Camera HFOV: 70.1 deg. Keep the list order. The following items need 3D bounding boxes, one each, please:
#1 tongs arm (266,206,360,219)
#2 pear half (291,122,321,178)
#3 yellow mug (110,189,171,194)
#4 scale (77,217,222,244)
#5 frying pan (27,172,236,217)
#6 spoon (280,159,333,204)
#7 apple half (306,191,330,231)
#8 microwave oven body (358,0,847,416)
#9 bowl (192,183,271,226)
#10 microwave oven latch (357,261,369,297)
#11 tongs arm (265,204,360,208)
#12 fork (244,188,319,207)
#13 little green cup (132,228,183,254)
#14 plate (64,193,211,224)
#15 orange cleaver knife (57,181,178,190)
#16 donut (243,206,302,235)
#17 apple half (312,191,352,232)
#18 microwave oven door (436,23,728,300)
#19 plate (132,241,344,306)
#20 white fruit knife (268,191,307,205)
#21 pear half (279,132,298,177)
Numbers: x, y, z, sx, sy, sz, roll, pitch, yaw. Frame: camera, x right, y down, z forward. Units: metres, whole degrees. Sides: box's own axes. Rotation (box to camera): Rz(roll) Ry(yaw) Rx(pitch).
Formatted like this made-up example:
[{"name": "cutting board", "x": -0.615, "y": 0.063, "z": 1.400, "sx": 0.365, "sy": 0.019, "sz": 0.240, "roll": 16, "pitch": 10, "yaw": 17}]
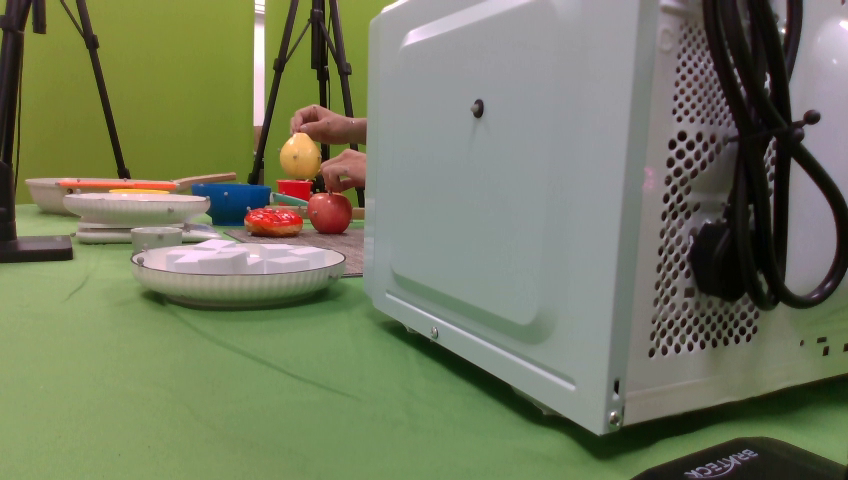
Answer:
[{"name": "tongs arm", "x": -0.174, "y": -0.061, "z": 1.363, "sx": 0.387, "sy": 0.026, "sz": 0.050, "roll": -1, "pitch": 4, "yaw": -31}, {"name": "pear half", "x": -0.233, "y": -0.177, "z": 1.197, "sx": 0.056, "sy": 0.109, "sz": 0.076, "roll": 3, "pitch": 3, "yaw": -30}, {"name": "yellow mug", "x": -0.519, "y": -0.055, "z": 1.080, "sx": 0.099, "sy": 0.064, "sz": 0.131, "roll": 7, "pitch": 10, "yaw": 26}, {"name": "scale", "x": -0.434, "y": -0.018, "z": 0.963, "sx": 0.202, "sy": 0.031, "sz": 0.148, "roll": -1, "pitch": 8, "yaw": -27}, {"name": "frying pan", "x": -0.624, "y": -0.118, "z": 1.387, "sx": 0.305, "sy": 0.102, "sz": 0.490, "roll": 8, "pitch": 17, "yaw": 32}, {"name": "spoon", "x": -0.316, "y": -0.159, "z": 1.640, "sx": 0.194, "sy": 0.022, "sz": 0.041, "roll": -50, "pitch": 31, "yaw": -20}, {"name": "apple half", "x": -0.197, "y": -0.054, "z": 1.115, "sx": 0.032, "sy": 0.081, "sz": 0.081, "roll": 8, "pitch": 9, "yaw": 25}, {"name": "microwave oven body", "x": 0.211, "y": -0.047, "z": 0.474, "sx": 0.444, "sy": 0.260, "sz": 0.324, "roll": -1, "pitch": 7, "yaw": -28}, {"name": "bowl", "x": -0.382, "y": -0.071, "z": 1.202, "sx": 0.151, "sy": 0.077, "sz": 0.151, "roll": 3, "pitch": 7, "yaw": 0}, {"name": "microwave oven latch", "x": -0.019, "y": 0.033, "z": 0.531, "sx": 0.079, "sy": 0.029, "sz": 0.030, "roll": -1, "pitch": 7, "yaw": -27}, {"name": "tongs arm", "x": -0.211, "y": -0.069, "z": 1.440, "sx": 0.389, "sy": 0.027, "sz": 0.028, "roll": 1, "pitch": 0, "yaw": -17}, {"name": "fork", "x": -0.356, "y": -0.105, "z": 1.526, "sx": 0.208, "sy": 0.018, "sz": 0.028, "roll": 16, "pitch": -5, "yaw": -41}, {"name": "little green cup", "x": -0.342, "y": 0.006, "z": 0.779, "sx": 0.061, "sy": 0.038, "sz": 0.061, "roll": 2, "pitch": 8, "yaw": 0}, {"name": "plate", "x": -0.446, "y": -0.050, "z": 0.951, "sx": 0.209, "sy": 0.038, "sz": 0.209, "roll": 2, "pitch": 7, "yaw": 0}, {"name": "orange cleaver knife", "x": -0.600, "y": -0.109, "z": 1.189, "sx": 0.212, "sy": 0.012, "sz": 0.077, "roll": -1, "pitch": 11, "yaw": -26}, {"name": "donut", "x": -0.261, "y": -0.032, "z": 1.043, "sx": 0.099, "sy": 0.048, "sz": 0.099, "roll": 3, "pitch": 9, "yaw": 0}, {"name": "apple half", "x": -0.161, "y": -0.050, "z": 1.101, "sx": 0.053, "sy": 0.074, "sz": 0.081, "roll": 8, "pitch": 7, "yaw": 25}, {"name": "microwave oven door", "x": 0.180, "y": -0.073, "z": 0.621, "sx": 0.358, "sy": 0.243, "sz": 0.039, "roll": -2, "pitch": 9, "yaw": -29}, {"name": "plate", "x": -0.187, "y": 0.033, "z": 0.625, "sx": 0.208, "sy": 0.039, "sz": 0.207, "roll": 2, "pitch": 7, "yaw": 0}, {"name": "white fruit knife", "x": -0.364, "y": -0.105, "z": 1.464, "sx": 0.208, "sy": 0.027, "sz": 0.016, "roll": 15, "pitch": -1, "yaw": -34}, {"name": "pear half", "x": -0.265, "y": -0.169, "z": 1.181, "sx": 0.031, "sy": 0.088, "sz": 0.070, "roll": 3, "pitch": 1, "yaw": -31}]
